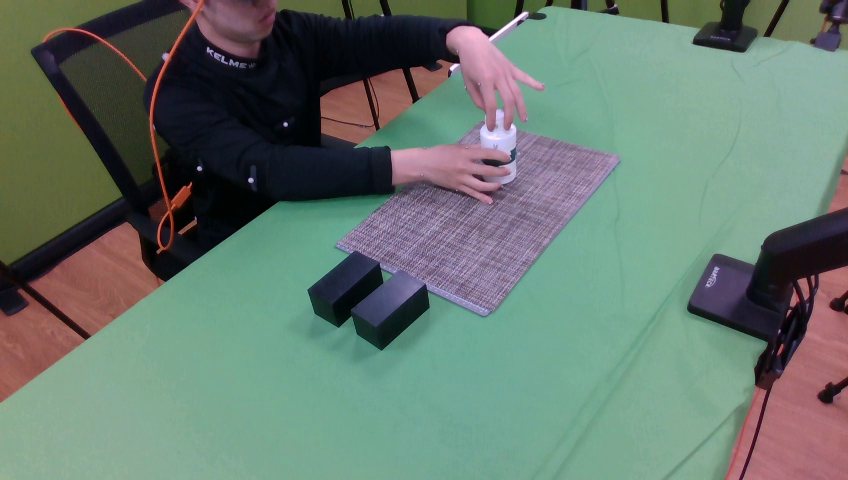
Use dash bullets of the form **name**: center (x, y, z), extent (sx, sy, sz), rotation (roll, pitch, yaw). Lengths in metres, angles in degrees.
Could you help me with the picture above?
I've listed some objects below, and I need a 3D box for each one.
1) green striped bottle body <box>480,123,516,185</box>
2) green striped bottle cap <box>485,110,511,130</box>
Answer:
- **green striped bottle body**: center (0.130, -0.162, 1.057), extent (0.063, 0.120, 0.063), rotation (-4, 40, 4)
- **green striped bottle cap**: center (0.124, -0.202, 1.022), extent (0.044, 0.020, 0.044), rotation (-6, 38, 5)
